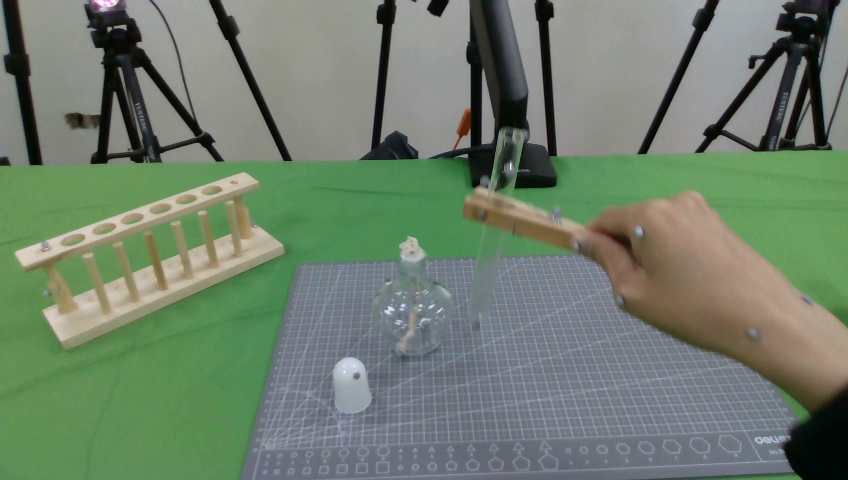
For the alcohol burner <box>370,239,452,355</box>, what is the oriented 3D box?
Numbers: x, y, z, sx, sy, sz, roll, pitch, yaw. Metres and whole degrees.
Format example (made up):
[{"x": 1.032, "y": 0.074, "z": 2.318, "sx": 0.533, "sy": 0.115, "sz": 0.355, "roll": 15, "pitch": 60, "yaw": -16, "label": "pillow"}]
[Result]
[{"x": -0.012, "y": 0.047, "z": 0.557, "sx": 0.078, "sy": 0.120, "sz": 0.077, "roll": 0, "pitch": 35, "yaw": 0, "label": "alcohol burner"}]

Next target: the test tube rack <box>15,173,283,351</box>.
[{"x": -0.279, "y": 0.014, "z": 0.647, "sx": 0.242, "sy": 0.086, "sz": 0.066, "roll": -27, "pitch": 42, "yaw": -34, "label": "test tube rack"}]

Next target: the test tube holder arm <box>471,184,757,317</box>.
[{"x": 0.105, "y": 0.002, "z": 0.363, "sx": 0.177, "sy": 0.015, "sz": 0.013, "roll": 24, "pitch": 40, "yaw": 24, "label": "test tube holder arm"}]

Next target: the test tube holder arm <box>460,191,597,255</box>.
[{"x": 0.064, "y": -0.011, "z": 0.376, "sx": 0.087, "sy": 0.015, "sz": 0.010, "roll": 19, "pitch": 38, "yaw": 18, "label": "test tube holder arm"}]

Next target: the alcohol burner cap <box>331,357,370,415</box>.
[{"x": -0.063, "y": 0.120, "z": 0.514, "sx": 0.034, "sy": 0.048, "sz": 0.033, "roll": 0, "pitch": 34, "yaw": 0, "label": "alcohol burner cap"}]

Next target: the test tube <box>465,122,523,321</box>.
[{"x": 0.044, "y": -0.005, "z": 0.398, "sx": 0.017, "sy": 0.151, "sz": 0.017, "roll": 5, "pitch": 34, "yaw": -3, "label": "test tube"}]
